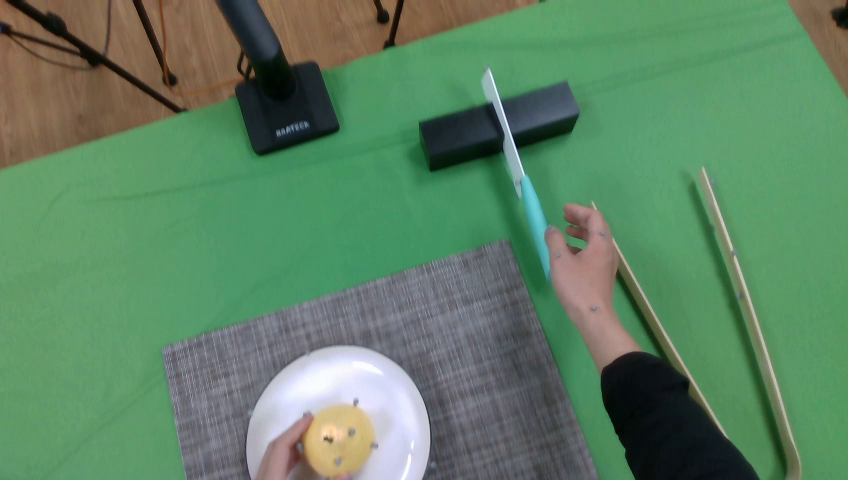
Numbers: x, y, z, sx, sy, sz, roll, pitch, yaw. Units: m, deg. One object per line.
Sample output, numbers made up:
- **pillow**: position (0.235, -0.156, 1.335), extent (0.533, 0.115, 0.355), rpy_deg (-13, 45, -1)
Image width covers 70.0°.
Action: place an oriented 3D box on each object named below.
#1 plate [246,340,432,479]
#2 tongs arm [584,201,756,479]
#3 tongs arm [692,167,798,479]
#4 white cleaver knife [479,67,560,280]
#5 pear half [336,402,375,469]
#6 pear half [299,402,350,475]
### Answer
- **plate**: position (-0.094, 0.220, 0.690), extent (0.208, 0.039, 0.206), rpy_deg (0, 72, 1)
- **tongs arm**: position (0.294, 0.116, 0.729), extent (0.028, 0.028, 0.385), rpy_deg (-24, 73, -9)
- **tongs arm**: position (0.372, 0.092, 0.731), extent (0.051, 0.027, 0.382), rpy_deg (-12, 73, -2)
- **white cleaver knife**: position (0.119, -0.087, 0.772), extent (0.021, 0.066, 0.285), rpy_deg (-16, 82, 0)
- **pear half**: position (-0.071, 0.209, 0.657), extent (0.031, 0.088, 0.070), rpy_deg (-13, 68, -1)
- **pear half**: position (-0.107, 0.211, 0.646), extent (0.056, 0.110, 0.075), rpy_deg (-11, 66, -3)
